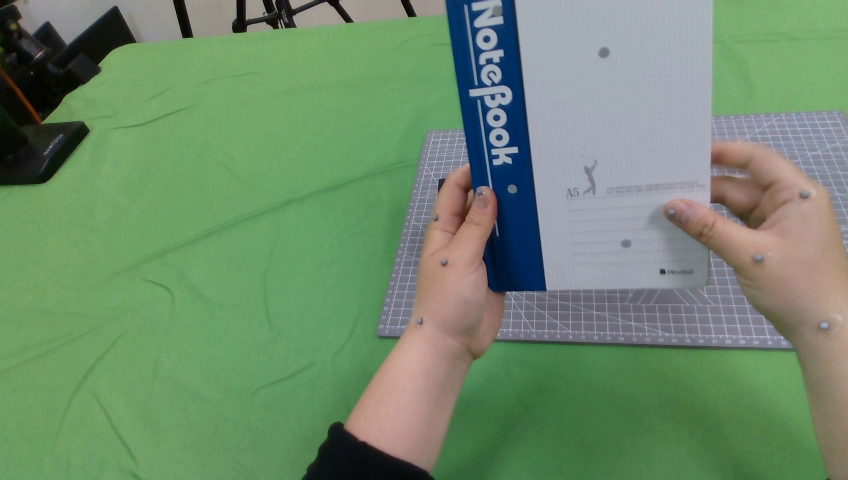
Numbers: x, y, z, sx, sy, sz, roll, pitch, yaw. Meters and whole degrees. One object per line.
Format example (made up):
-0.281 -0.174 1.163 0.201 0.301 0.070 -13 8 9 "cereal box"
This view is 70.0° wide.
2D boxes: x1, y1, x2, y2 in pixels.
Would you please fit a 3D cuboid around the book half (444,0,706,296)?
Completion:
0.097 -0.058 0.376 0.143 0.211 0.007 -3 24 19 "book half"

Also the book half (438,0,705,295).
0.097 -0.061 0.382 0.148 0.212 0.016 -4 24 17 "book half"
